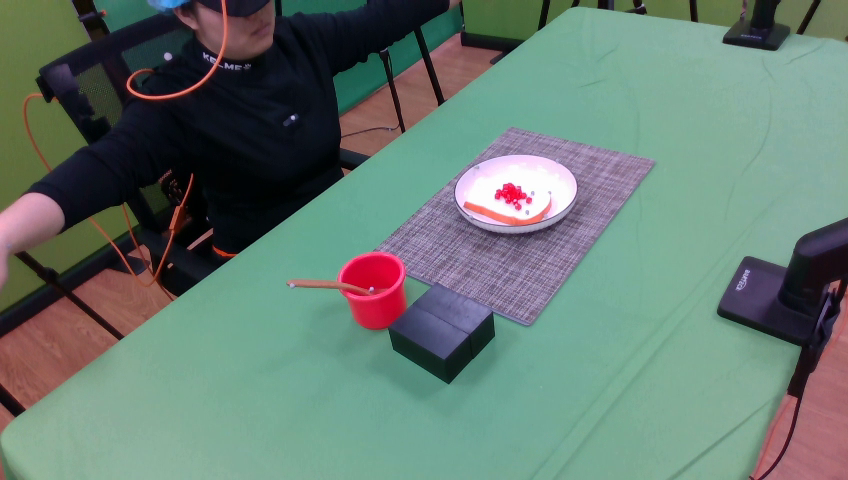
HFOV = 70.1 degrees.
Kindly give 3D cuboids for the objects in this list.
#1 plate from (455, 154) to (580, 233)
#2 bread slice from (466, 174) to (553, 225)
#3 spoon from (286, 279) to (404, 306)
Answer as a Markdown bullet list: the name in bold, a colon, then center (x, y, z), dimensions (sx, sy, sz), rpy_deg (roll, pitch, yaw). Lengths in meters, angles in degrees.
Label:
- **plate**: center (0.158, -0.076, 1.028), dimensions (0.209, 0.038, 0.208), rpy_deg (-5, 40, 5)
- **bread slice**: center (0.152, -0.067, 1.022), dimensions (0.130, 0.019, 0.105), rpy_deg (23, 50, 33)
- **spoon**: center (-0.104, 0.068, 0.832), dimensions (0.195, 0.021, 0.041), rpy_deg (17, 21, -43)
